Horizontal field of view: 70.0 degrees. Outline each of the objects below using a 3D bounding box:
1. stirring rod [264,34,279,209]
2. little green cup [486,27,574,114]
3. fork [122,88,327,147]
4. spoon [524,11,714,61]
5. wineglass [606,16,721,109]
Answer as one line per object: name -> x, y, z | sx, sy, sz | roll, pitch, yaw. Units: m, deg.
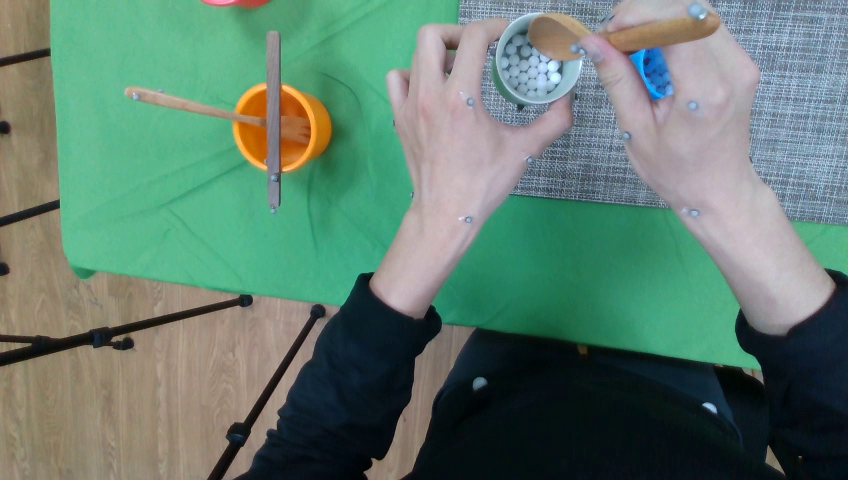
stirring rod -> -0.156, -0.118, 0.619 | 0.014, 0.006, 0.177 | 6, 104, 9
little green cup -> 0.076, -0.124, 0.442 | 0.061, 0.038, 0.062 | 1, 109, 3
fork -> -0.197, -0.126, 0.627 | 0.209, 0.018, 0.028 | 7, 116, -37
spoon -> 0.100, -0.114, 0.343 | 0.042, 0.192, 0.021 | 38, 98, -19
wineglass -> 0.205, -0.153, 0.537 | 0.073, 0.172, 0.074 | 2, 103, 9
